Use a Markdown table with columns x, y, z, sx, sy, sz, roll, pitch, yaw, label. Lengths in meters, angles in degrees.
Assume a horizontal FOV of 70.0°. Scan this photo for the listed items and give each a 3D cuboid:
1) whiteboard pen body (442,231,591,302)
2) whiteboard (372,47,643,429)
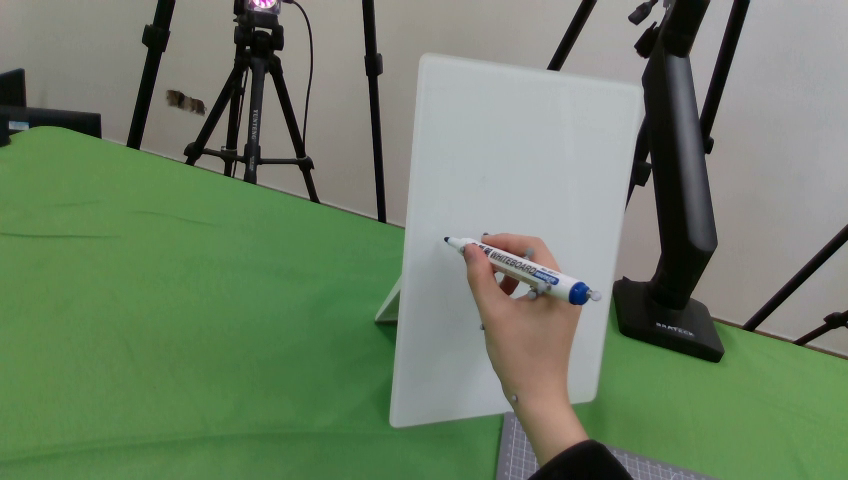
| x | y | z | sx | sy | sz | roll | pitch | yaw | label |
| --- | --- | --- | --- | --- | --- | --- | --- | --- | --- |
| 0.056 | 0.014 | 0.422 | 0.017 | 0.017 | 0.139 | -9 | 21 | -36 | whiteboard pen body |
| 0.056 | -0.007 | 0.574 | 0.218 | 0.306 | 0.142 | 0 | 13 | -24 | whiteboard |
